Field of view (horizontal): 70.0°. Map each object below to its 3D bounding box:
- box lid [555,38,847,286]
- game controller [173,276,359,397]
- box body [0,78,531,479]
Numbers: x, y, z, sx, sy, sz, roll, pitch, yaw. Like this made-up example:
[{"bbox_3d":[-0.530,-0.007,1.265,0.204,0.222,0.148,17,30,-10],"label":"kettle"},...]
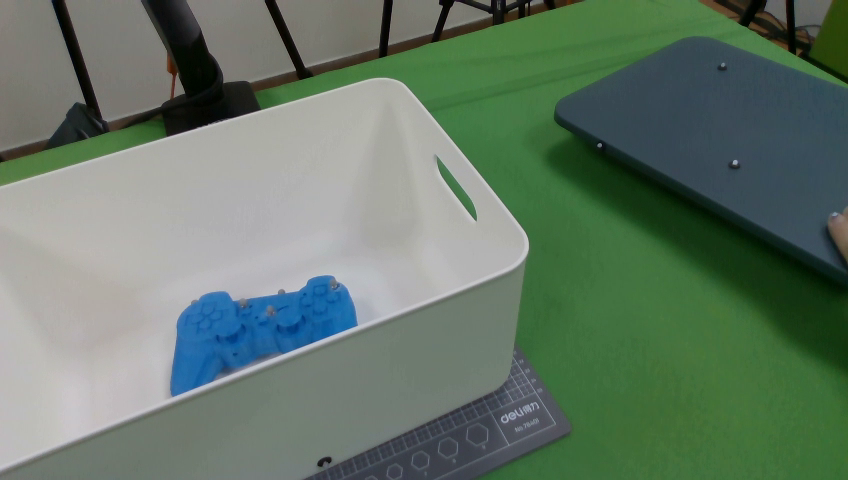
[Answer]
[{"bbox_3d":[0.343,-0.107,0.612,0.263,0.015,0.367,-29,47,-22],"label":"box lid"},{"bbox_3d":[-0.130,0.076,0.507,0.155,0.052,0.096,-8,40,-2],"label":"game controller"},{"bbox_3d":[-0.132,0.044,0.466,0.364,0.162,0.251,-20,47,-14],"label":"box body"}]
